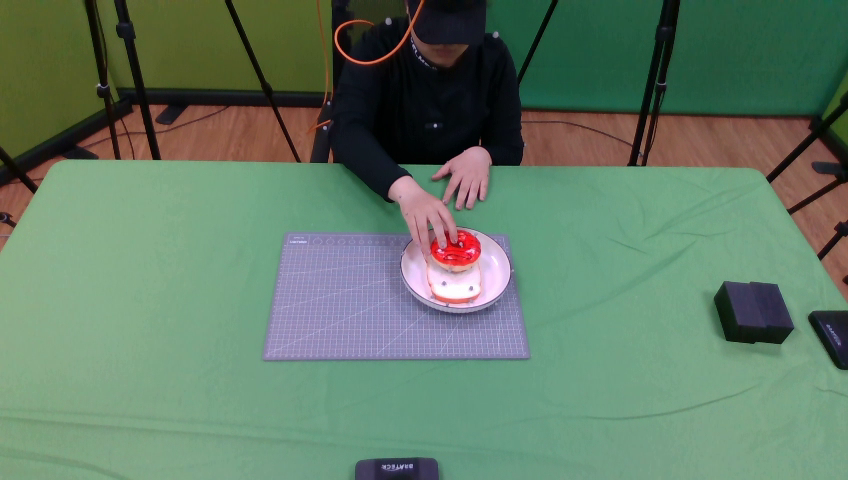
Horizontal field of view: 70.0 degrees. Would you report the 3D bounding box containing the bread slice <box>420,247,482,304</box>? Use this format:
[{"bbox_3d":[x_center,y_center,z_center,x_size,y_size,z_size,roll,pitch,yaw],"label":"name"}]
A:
[{"bbox_3d":[0.056,0.062,1.131,0.107,0.018,0.133,-6,47,-8],"label":"bread slice"}]

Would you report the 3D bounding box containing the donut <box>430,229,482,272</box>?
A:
[{"bbox_3d":[0.060,0.017,1.130,0.099,0.048,0.098,1,42,-1],"label":"donut"}]

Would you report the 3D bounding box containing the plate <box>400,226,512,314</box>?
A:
[{"bbox_3d":[0.057,0.057,1.134,0.209,0.038,0.208,2,46,-2],"label":"plate"}]
